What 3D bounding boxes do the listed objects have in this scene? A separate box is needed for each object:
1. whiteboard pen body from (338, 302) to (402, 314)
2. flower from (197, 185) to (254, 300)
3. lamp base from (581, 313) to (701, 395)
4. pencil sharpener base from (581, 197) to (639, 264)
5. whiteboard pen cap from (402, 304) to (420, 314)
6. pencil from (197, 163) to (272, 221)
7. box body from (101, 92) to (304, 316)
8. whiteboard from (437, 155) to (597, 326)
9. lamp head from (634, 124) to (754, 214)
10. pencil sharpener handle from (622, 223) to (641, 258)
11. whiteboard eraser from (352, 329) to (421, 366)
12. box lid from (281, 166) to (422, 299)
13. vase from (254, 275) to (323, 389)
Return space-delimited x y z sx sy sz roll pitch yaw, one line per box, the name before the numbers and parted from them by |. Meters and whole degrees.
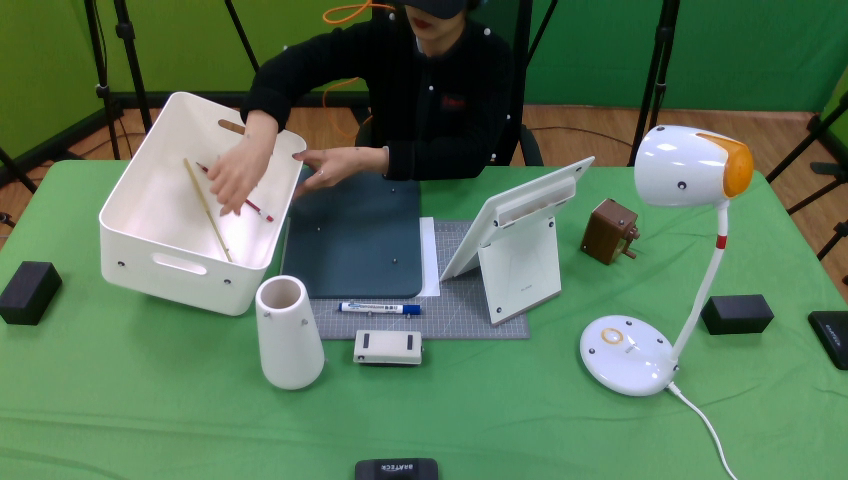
whiteboard pen body | -0.083 0.121 1.074 0.141 0.017 0.017 3 46 -2
flower | -0.395 -0.026 1.146 0.038 0.044 0.359 14 35 -53
lamp base | 0.361 0.144 0.973 0.178 0.181 0.160 34 53 23
pencil sharpener base | 0.362 -0.016 1.178 0.076 0.107 0.061 35 53 26
whiteboard pen cap | -0.024 0.123 1.076 0.033 0.018 0.018 1 46 1
pencil | -0.385 -0.098 1.226 0.194 0.012 0.012 37 52 4
box body | -0.387 -0.065 1.087 0.255 0.161 0.362 19 44 -16
whiteboard | 0.180 0.023 1.029 0.217 0.306 0.143 -22 71 -23
lamp head | 0.351 -0.089 0.776 0.112 0.113 0.122 -30 30 -28
pencil sharpener handle | 0.399 0.002 1.146 0.030 0.068 0.036 35 45 26
whiteboard eraser | -0.061 0.179 1.005 0.113 0.042 0.055 3 48 -3
box lid | -0.139 -0.029 1.220 0.263 0.015 0.369 1 46 -4
vase | -0.209 0.142 0.921 0.098 0.201 0.097 1 46 -1
